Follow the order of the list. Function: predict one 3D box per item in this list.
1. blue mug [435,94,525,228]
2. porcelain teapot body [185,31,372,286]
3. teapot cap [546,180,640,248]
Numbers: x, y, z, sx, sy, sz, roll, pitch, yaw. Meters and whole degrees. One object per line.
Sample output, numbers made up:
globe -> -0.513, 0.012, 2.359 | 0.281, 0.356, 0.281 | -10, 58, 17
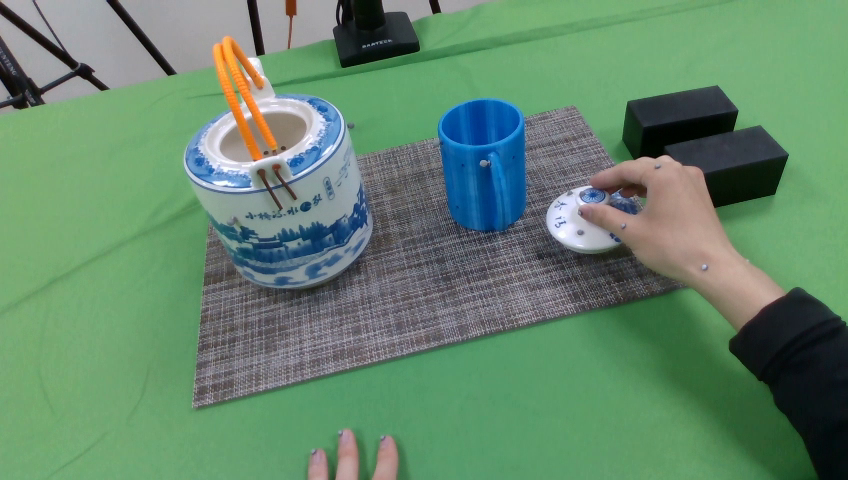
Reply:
blue mug -> 0.062, -0.067, 0.592 | 0.082, 0.107, 0.115 | -14, 46, -3
porcelain teapot body -> -0.145, -0.091, 0.569 | 0.145, 0.227, 0.203 | -19, 46, -7
teapot cap -> 0.155, -0.030, 0.556 | 0.085, 0.044, 0.084 | -6, 44, 6
